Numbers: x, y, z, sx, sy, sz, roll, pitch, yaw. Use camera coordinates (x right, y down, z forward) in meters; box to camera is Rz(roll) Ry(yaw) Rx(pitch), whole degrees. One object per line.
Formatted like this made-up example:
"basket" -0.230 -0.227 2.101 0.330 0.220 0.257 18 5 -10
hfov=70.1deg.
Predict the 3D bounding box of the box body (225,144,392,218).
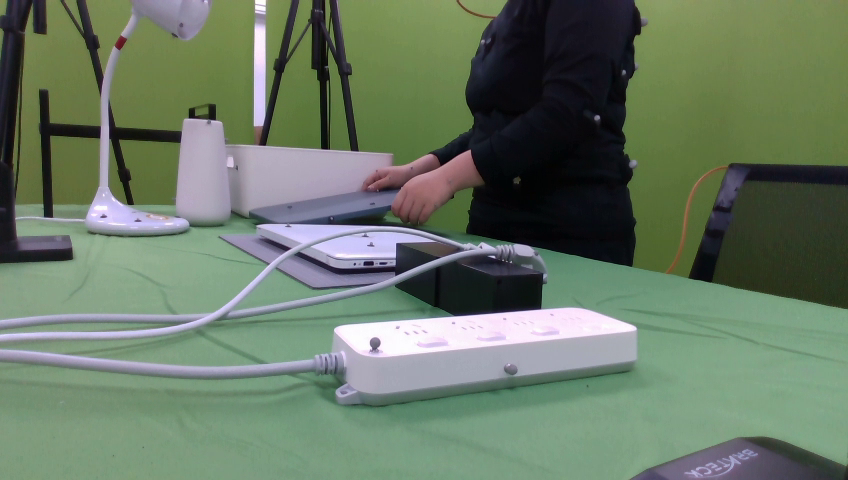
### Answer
"box body" -0.289 -0.143 1.475 0.366 0.160 0.253 -1 9 -29

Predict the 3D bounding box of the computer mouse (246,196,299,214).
"computer mouse" -0.355 -0.083 1.418 0.117 0.041 0.063 0 10 7

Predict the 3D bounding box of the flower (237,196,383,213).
"flower" -0.282 -0.081 1.492 0.362 0.038 0.044 3 34 2

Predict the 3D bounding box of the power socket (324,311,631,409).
"power socket" 0.042 0.075 0.410 0.228 0.032 0.072 -1 8 -25

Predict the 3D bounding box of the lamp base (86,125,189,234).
"lamp base" -0.497 -0.105 1.027 0.179 0.180 0.160 1 7 3

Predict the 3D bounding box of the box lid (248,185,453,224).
"box lid" -0.154 -0.072 1.235 0.373 0.015 0.262 -12 14 -28

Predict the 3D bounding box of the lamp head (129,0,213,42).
"lamp head" -0.423 -0.394 0.980 0.123 0.112 0.112 20 7 -3

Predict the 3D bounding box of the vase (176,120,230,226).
"vase" -0.425 -0.128 1.159 0.098 0.200 0.098 2 9 0

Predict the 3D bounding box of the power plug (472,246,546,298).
"power plug" 0.081 0.030 0.584 0.072 0.052 0.035 11 28 9

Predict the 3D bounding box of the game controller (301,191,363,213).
"game controller" -0.240 -0.098 1.550 0.155 0.051 0.097 3 9 5

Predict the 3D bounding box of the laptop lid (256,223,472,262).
"laptop lid" -0.092 0.000 0.912 0.243 0.013 0.355 1 7 -30

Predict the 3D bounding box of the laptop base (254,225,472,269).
"laptop base" -0.095 0.011 0.912 0.237 0.023 0.352 3 6 -32

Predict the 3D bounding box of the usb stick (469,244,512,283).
"usb stick" 0.080 0.029 0.674 0.059 0.021 0.027 28 26 -29
